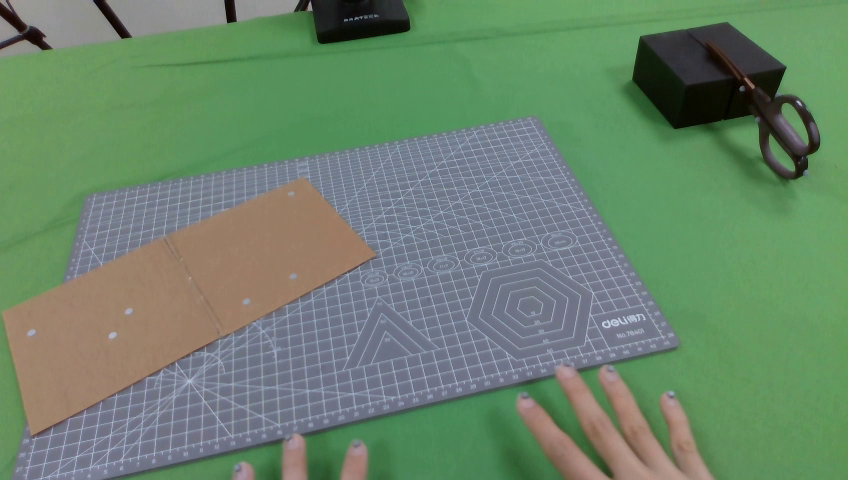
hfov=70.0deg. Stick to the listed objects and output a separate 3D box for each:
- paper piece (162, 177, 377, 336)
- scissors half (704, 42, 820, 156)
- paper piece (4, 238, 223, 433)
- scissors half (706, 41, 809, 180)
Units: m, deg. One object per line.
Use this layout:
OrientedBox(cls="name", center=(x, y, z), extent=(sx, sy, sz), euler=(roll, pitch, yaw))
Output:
OrientedBox(cls="paper piece", center=(-0.132, 0.005, 0.514), extent=(0.138, 0.009, 0.134), euler=(-27, 53, -22))
OrientedBox(cls="scissors half", center=(0.300, -0.137, 0.550), extent=(0.013, 0.040, 0.173), euler=(-19, 45, 2))
OrientedBox(cls="paper piece", center=(-0.242, 0.063, 0.464), extent=(0.136, 0.004, 0.134), euler=(-28, 48, -21))
OrientedBox(cls="scissors half", center=(0.303, -0.125, 0.566), extent=(0.013, 0.040, 0.173), euler=(-15, 62, -2))
